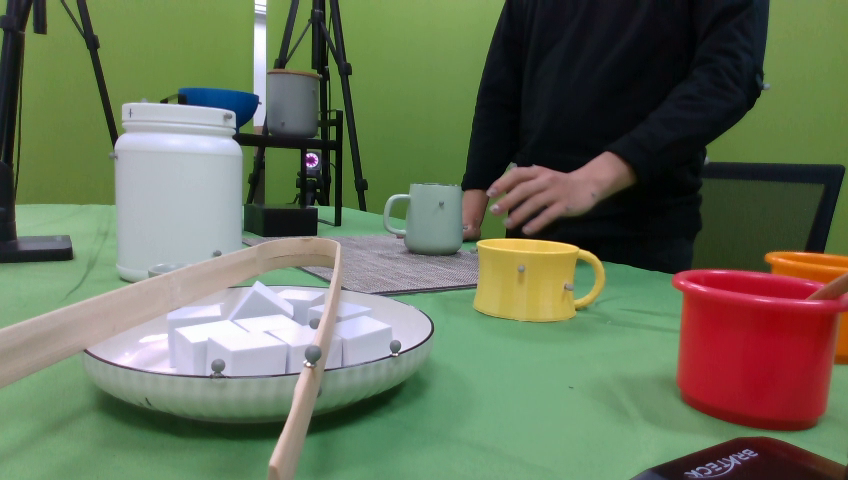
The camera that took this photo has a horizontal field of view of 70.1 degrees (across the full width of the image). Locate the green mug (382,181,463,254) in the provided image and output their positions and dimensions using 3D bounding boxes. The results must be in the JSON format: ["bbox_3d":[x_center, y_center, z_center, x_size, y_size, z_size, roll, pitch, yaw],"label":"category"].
[{"bbox_3d":[-0.001,-0.036,0.922,0.126,0.105,0.092,0,8,-16],"label":"green mug"}]

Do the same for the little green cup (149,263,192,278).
[{"bbox_3d":[-0.207,0.043,0.531,0.061,0.038,0.061,3,6,0],"label":"little green cup"}]

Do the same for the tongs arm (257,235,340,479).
[{"bbox_3d":[-0.074,0.039,0.349,0.051,0.026,0.384,-2,9,-2],"label":"tongs arm"}]

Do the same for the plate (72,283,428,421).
[{"bbox_3d":[-0.102,0.066,0.381,0.208,0.039,0.207,2,7,0],"label":"plate"}]

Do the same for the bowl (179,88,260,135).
[{"bbox_3d":[-0.400,-0.248,1.188,0.151,0.077,0.151,2,6,0],"label":"bowl"}]

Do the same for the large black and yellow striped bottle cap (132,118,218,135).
[{"bbox_3d":[-0.359,-0.164,0.875,0.115,0.019,0.115,2,6,0],"label":"large black and yellow striped bottle cap"}]

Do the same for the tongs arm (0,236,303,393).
[{"bbox_3d":[-0.158,0.038,0.351,0.028,0.028,0.388,-3,8,12],"label":"tongs arm"}]

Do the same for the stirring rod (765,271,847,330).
[{"bbox_3d":[0.352,0.020,0.481,0.176,0.006,0.014,-40,-8,17],"label":"stirring rod"}]

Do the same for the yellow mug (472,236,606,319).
[{"bbox_3d":[0.114,0.034,0.590,0.131,0.064,0.100,2,6,-7],"label":"yellow mug"}]

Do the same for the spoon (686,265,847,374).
[{"bbox_3d":[0.214,0.032,0.327,0.042,0.021,0.193,-3,-35,-26],"label":"spoon"}]

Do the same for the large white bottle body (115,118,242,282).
[{"bbox_3d":[-0.270,-0.051,0.674,0.131,0.184,0.130,2,8,0],"label":"large white bottle body"}]

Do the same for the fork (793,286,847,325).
[{"bbox_3d":[0.332,0.019,0.443,0.028,0.018,0.207,-3,-35,-16],"label":"fork"}]

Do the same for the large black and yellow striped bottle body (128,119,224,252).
[{"bbox_3d":[-0.361,-0.081,0.887,0.131,0.184,0.130,2,8,0],"label":"large black and yellow striped bottle body"}]

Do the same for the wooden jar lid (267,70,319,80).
[{"bbox_3d":[-0.275,-0.339,1.271,0.108,0.020,0.108,5,6,0],"label":"wooden jar lid"}]

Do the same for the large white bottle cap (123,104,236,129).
[{"bbox_3d":[-0.266,-0.134,0.663,0.115,0.018,0.115,3,7,0],"label":"large white bottle cap"}]

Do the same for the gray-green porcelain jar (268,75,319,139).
[{"bbox_3d":[-0.277,-0.279,1.280,0.106,0.126,0.106,2,8,0],"label":"gray-green porcelain jar"}]
